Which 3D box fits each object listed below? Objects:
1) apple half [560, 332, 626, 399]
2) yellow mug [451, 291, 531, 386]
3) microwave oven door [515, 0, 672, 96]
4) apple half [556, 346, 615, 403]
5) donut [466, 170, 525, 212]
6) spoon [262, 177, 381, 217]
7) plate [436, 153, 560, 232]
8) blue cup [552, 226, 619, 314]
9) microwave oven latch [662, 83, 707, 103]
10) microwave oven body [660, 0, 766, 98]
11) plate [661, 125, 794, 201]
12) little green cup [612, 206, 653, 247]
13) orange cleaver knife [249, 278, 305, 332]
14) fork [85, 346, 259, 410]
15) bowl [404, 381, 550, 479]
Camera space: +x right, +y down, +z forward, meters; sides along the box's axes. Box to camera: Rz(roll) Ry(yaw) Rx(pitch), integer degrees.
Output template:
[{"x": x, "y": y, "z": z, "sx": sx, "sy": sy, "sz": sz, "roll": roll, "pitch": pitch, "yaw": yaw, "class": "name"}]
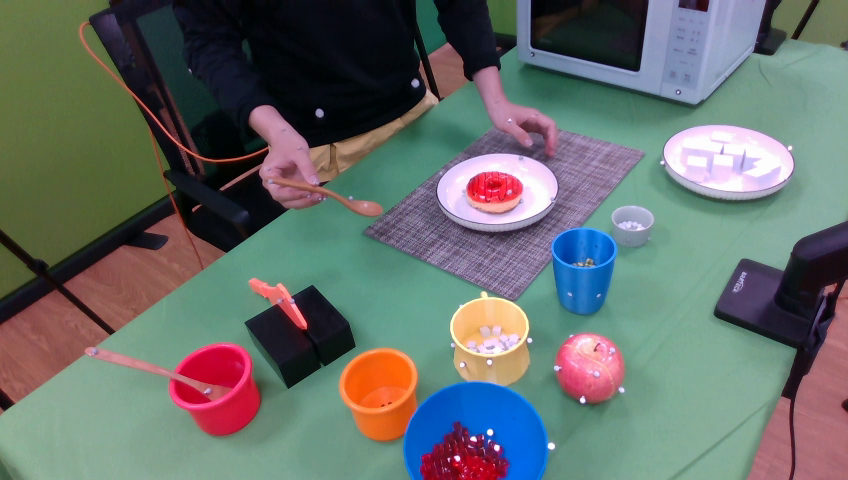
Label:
[{"x": 0.209, "y": 0.147, "z": 0.730, "sx": 0.080, "sy": 0.075, "sz": 0.053, "roll": 26, "pitch": 48, "yaw": 38, "class": "apple half"}, {"x": 0.086, "y": 0.120, "z": 0.786, "sx": 0.100, "sy": 0.064, "sz": 0.130, "roll": -7, "pitch": 39, "yaw": 2, "class": "yellow mug"}, {"x": 0.344, "y": -0.455, "z": 1.259, "sx": 0.353, "sy": 0.245, "sz": 0.039, "roll": 26, "pitch": 51, "yaw": 33, "class": "microwave oven door"}, {"x": 0.181, "y": 0.167, "z": 0.709, "sx": 0.080, "sy": 0.081, "sz": 0.033, "roll": 29, "pitch": 51, "yaw": 35, "class": "apple half"}, {"x": 0.121, "y": -0.083, "z": 1.019, "sx": 0.099, "sy": 0.048, "sz": 0.098, "roll": -4, "pitch": 39, "yaw": 3, "class": "donut"}, {"x": -0.138, "y": -0.063, "z": 0.846, "sx": 0.195, "sy": 0.021, "sz": 0.041, "roll": 19, "pitch": 23, "yaw": -44, "class": "spoon"}, {"x": 0.125, "y": -0.078, "z": 1.029, "sx": 0.209, "sy": 0.038, "sz": 0.208, "roll": -4, "pitch": 40, "yaw": 4, "class": "plate"}, {"x": 0.218, "y": 0.047, "z": 0.825, "sx": 0.092, "sy": 0.100, "sz": 0.092, "roll": -6, "pitch": 39, "yaw": 5, "class": "blue cup"}, {"x": 0.517, "y": -0.296, "z": 1.204, "sx": 0.078, "sy": 0.029, "sz": 0.030, "roll": 27, "pitch": 52, "yaw": 35, "class": "microwave oven latch"}, {"x": 0.473, "y": -0.513, "z": 1.317, "sx": 0.438, "sy": 0.261, "sz": 0.327, "roll": 26, "pitch": 51, "yaw": 34, "class": "microwave oven body"}, {"x": 0.513, "y": -0.128, "z": 1.035, "sx": 0.207, "sy": 0.039, "sz": 0.206, "roll": -4, "pitch": 40, "yaw": 4, "class": "plate"}, {"x": 0.321, "y": -0.019, "z": 0.936, "sx": 0.061, "sy": 0.039, "sz": 0.061, "roll": -4, "pitch": 40, "yaw": 4, "class": "little green cup"}, {"x": -0.210, "y": 0.089, "z": 0.855, "sx": 0.012, "sy": 0.077, "sz": 0.210, "roll": -28, "pitch": 15, "yaw": -25, "class": "orange cleaver knife"}, {"x": -0.298, "y": 0.166, "z": 0.727, "sx": 0.209, "sy": 0.018, "sz": 0.028, "roll": 28, "pitch": 47, "yaw": -24, "class": "fork"}, {"x": 0.058, "y": 0.235, "z": 0.645, "sx": 0.151, "sy": 0.077, "sz": 0.150, "roll": -4, "pitch": 39, "yaw": 4, "class": "bowl"}]
